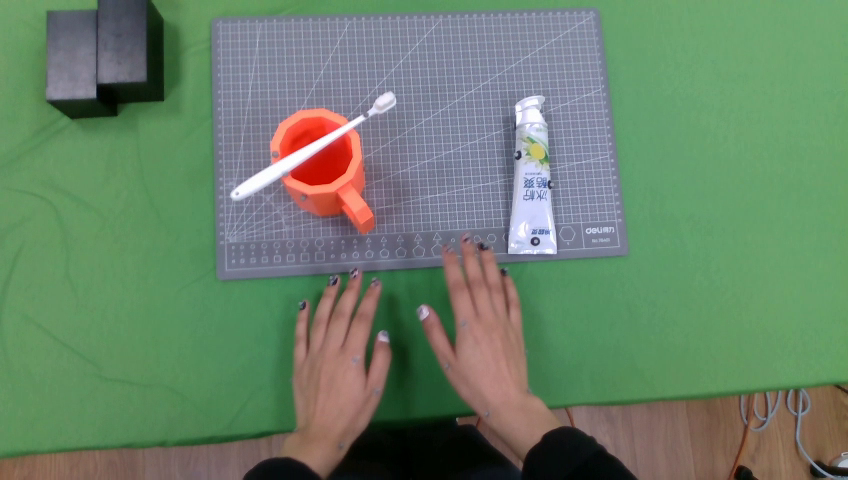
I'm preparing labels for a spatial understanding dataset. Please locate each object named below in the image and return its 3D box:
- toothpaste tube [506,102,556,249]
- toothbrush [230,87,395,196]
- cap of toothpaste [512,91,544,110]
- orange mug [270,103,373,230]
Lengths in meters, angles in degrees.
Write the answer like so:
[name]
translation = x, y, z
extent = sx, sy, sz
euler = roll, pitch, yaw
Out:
[toothpaste tube]
translation = 0.117, -0.073, 0.671
extent = 0.055, 0.034, 0.164
euler = -1, 85, 3
[toothbrush]
translation = -0.103, -0.093, 0.569
extent = 0.182, 0.016, 0.014
euler = -34, 90, -8
[cap of toothpaste]
translation = 0.117, -0.154, 0.678
extent = 0.037, 0.037, 0.011
euler = -12, 78, -6
[orange mug]
translation = -0.095, -0.067, 0.618
extent = 0.083, 0.101, 0.126
euler = -37, 81, -9
